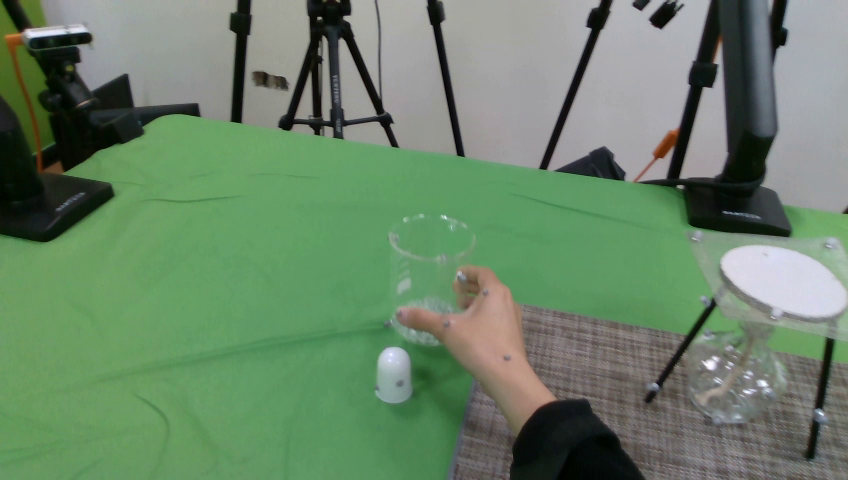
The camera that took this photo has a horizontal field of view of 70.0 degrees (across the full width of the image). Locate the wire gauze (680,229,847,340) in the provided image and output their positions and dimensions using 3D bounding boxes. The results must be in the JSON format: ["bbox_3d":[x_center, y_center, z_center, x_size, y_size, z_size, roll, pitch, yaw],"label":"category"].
[{"bbox_3d":[0.263,0.028,0.445,0.125,0.011,0.120,7,35,5],"label":"wire gauze"}]

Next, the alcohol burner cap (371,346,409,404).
[{"bbox_3d":[-0.029,0.111,0.511,0.034,0.048,0.033,1,35,0],"label":"alcohol burner cap"}]

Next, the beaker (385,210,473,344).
[{"bbox_3d":[0.004,0.033,0.535,0.073,0.101,0.084,20,36,24],"label":"beaker"}]

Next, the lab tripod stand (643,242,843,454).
[{"bbox_3d":[0.265,0.081,0.487,0.148,0.132,0.147,3,34,-2],"label":"lab tripod stand"}]

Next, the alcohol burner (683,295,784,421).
[{"bbox_3d":[0.256,0.090,0.492,0.078,0.120,0.077,3,36,-2],"label":"alcohol burner"}]
